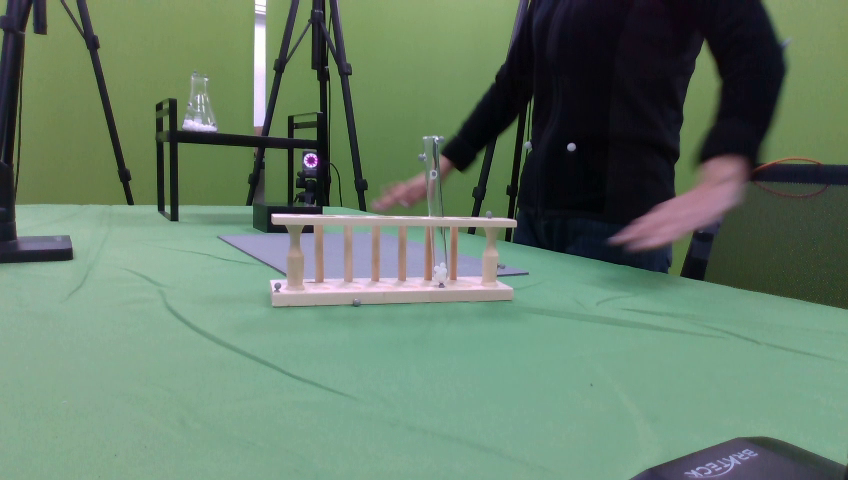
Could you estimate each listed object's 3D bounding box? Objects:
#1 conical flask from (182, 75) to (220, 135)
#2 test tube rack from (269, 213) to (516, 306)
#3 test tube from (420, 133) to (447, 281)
[{"bbox_3d":[-0.475,-0.287,1.288,0.075,0.122,0.075,2,7,0],"label":"conical flask"},{"bbox_3d":[-0.032,0.015,0.617,0.243,0.085,0.066,0,7,-17],"label":"test tube rack"},{"bbox_3d":[0.010,-0.031,0.607,0.017,0.150,0.017,-5,10,1],"label":"test tube"}]
